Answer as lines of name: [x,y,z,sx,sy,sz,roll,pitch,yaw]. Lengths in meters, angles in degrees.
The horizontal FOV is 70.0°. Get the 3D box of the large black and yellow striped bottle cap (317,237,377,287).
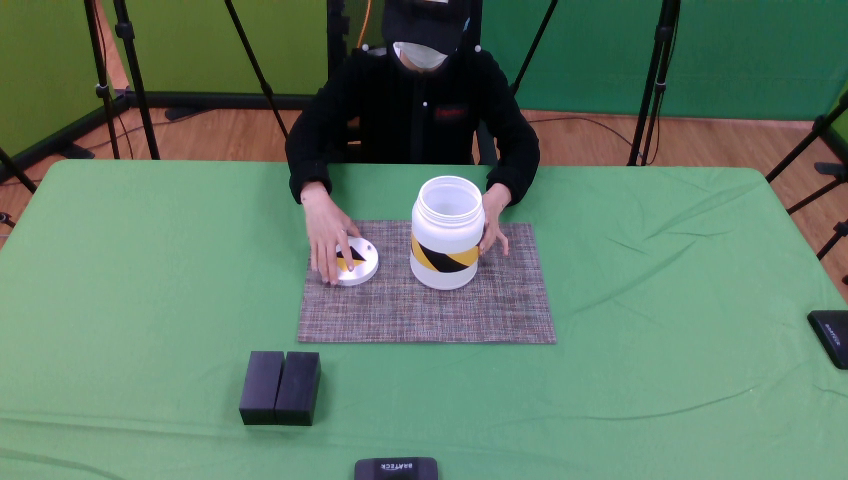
large black and yellow striped bottle cap: [-0.146,0.039,1.148,0.115,0.019,0.114,2,47,-2]

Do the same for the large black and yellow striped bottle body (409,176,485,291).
large black and yellow striped bottle body: [0.040,-0.012,1.095,0.131,0.185,0.130,2,46,-2]
